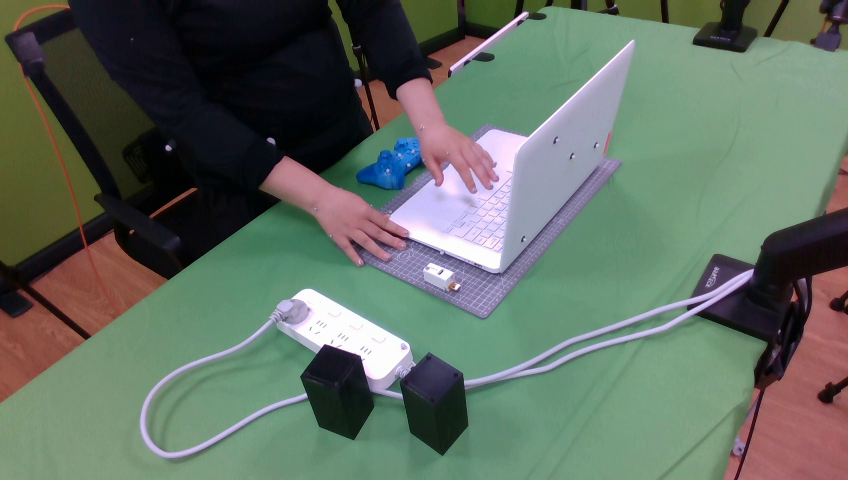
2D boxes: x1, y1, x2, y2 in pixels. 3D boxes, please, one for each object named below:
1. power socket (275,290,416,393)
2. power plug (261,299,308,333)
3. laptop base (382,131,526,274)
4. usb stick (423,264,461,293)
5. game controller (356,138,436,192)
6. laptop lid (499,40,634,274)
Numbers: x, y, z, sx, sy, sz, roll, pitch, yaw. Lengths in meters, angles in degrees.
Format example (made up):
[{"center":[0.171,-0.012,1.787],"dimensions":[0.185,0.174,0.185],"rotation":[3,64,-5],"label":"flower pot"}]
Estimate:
[{"center":[-0.114,0.133,0.821],"dimensions":[0.225,0.033,0.072],"rotation":[24,48,32],"label":"power socket"},{"center":[-0.193,0.110,0.830],"dimensions":[0.073,0.053,0.035],"rotation":[-36,48,-23],"label":"power plug"},{"center":[0.123,-0.081,1.049],"dimensions":[0.233,0.023,0.355],"rotation":[20,47,33],"label":"laptop base"},{"center":[0.028,0.058,0.888],"dimensions":[0.059,0.027,0.021],"rotation":[24,46,30],"label":"usb stick"},{"center":[-0.048,-0.149,1.136],"dimensions":[0.096,0.052,0.155],"rotation":[27,51,28],"label":"game controller"},{"center":[0.218,-0.127,0.905],"dimensions":[0.013,0.242,0.358],"rotation":[28,50,25],"label":"laptop lid"}]
